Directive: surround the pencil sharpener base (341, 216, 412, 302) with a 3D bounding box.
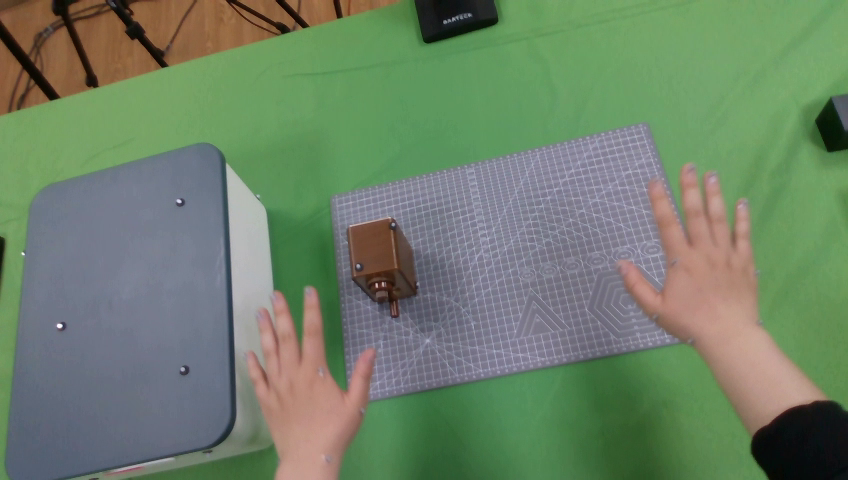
[{"bbox_3d":[-0.057,0.029,0.754,0.061,0.108,0.076,-12,67,6],"label":"pencil sharpener base"}]

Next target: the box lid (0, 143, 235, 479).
[{"bbox_3d":[-0.348,0.068,0.689,0.263,0.015,0.368,-14,66,5],"label":"box lid"}]

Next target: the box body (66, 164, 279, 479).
[{"bbox_3d":[-0.334,0.098,0.756,0.254,0.162,0.361,-14,66,5],"label":"box body"}]

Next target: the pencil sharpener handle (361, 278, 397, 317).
[{"bbox_3d":[-0.049,0.070,0.723,0.036,0.068,0.030,-16,66,16],"label":"pencil sharpener handle"}]
